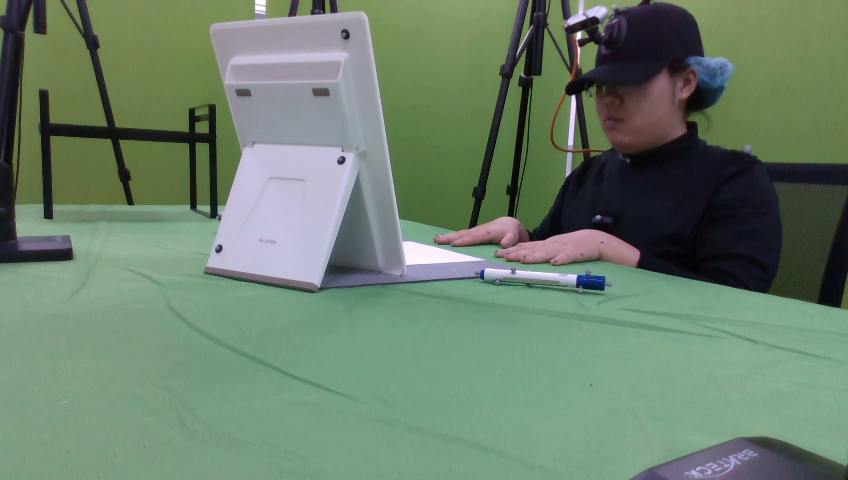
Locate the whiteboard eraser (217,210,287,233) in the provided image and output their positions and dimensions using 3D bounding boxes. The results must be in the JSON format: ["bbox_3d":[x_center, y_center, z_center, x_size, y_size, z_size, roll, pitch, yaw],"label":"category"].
[{"bbox_3d":[-0.310,-0.034,1.094,0.113,0.042,0.055,-2,11,-38],"label":"whiteboard eraser"}]

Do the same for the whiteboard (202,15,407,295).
[{"bbox_3d":[-0.166,-0.073,0.668,0.216,0.305,0.144,7,30,28],"label":"whiteboard"}]

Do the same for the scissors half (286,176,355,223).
[{"bbox_3d":[-0.229,-0.091,1.337,0.175,0.013,0.040,33,13,-13],"label":"scissors half"}]

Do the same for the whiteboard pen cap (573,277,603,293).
[{"bbox_3d":[0.186,0.051,0.687,0.033,0.018,0.018,4,7,18],"label":"whiteboard pen cap"}]

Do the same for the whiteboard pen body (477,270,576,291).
[{"bbox_3d":[0.131,0.048,0.706,0.140,0.017,0.017,4,8,18],"label":"whiteboard pen body"}]

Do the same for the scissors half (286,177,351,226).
[{"bbox_3d":[-0.232,-0.085,1.317,0.175,0.013,0.040,38,18,4],"label":"scissors half"}]
